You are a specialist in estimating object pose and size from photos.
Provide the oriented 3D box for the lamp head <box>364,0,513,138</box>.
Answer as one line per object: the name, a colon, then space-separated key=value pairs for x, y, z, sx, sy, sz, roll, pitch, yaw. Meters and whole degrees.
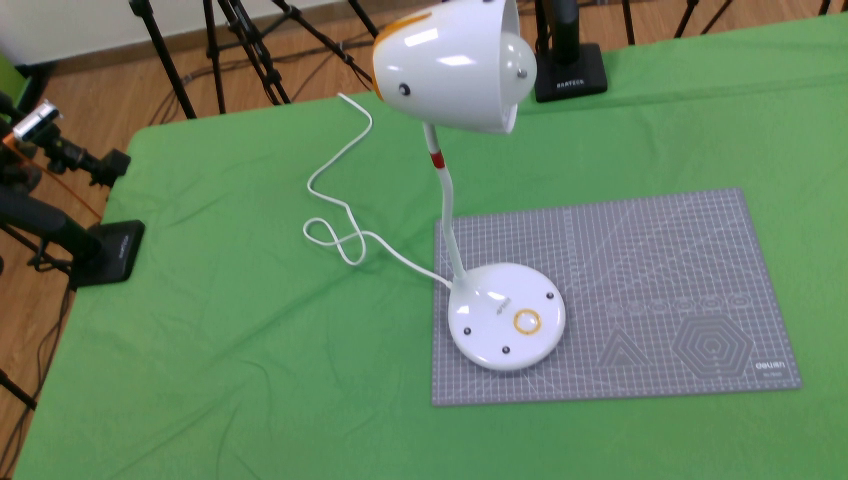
lamp head: x=0.013 y=-0.139 z=0.521 sx=0.122 sy=0.113 sz=0.111 roll=-2 pitch=57 yaw=20

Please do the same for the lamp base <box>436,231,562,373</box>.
lamp base: x=0.079 y=0.062 z=0.773 sx=0.178 sy=0.182 sz=0.160 roll=17 pitch=63 yaw=27
